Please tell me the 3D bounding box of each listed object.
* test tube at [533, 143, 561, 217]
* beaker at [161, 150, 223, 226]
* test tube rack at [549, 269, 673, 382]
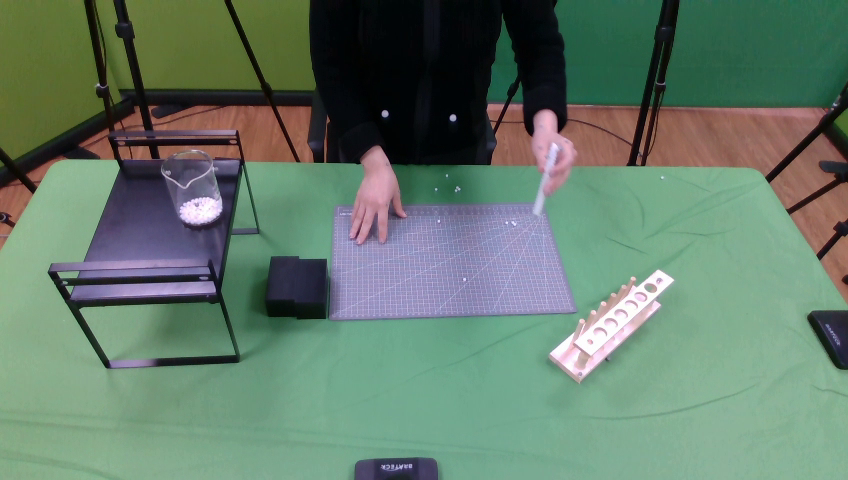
[{"bbox_3d":[0.204,-0.096,1.009,0.017,0.151,0.017,4,43,-3],"label":"test tube"},{"bbox_3d":[-0.357,-0.077,0.942,0.074,0.101,0.083,-4,47,-8],"label":"beaker"},{"bbox_3d":[0.325,0.134,1.047,0.242,0.085,0.066,-32,56,-30],"label":"test tube rack"}]
